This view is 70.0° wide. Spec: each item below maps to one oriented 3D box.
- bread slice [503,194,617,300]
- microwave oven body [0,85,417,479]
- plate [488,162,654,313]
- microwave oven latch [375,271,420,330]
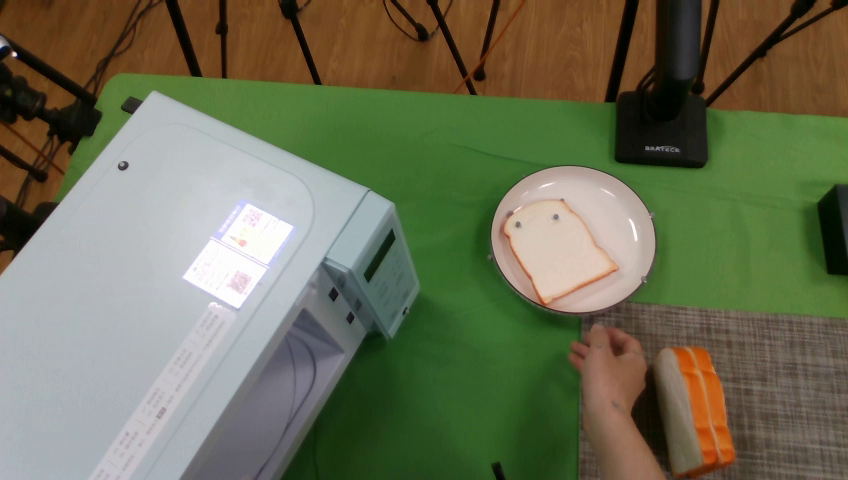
[{"bbox_3d":[0.163,0.004,0.779,0.107,0.018,0.133,-28,65,-10],"label":"bread slice"},{"bbox_3d":[-0.259,0.116,0.651,0.324,0.262,0.440,26,72,15],"label":"microwave oven body"},{"bbox_3d":[0.186,-0.003,0.781,0.207,0.039,0.206,-2,67,5],"label":"plate"},{"bbox_3d":[-0.034,0.071,0.753,0.030,0.030,0.079,27,73,16],"label":"microwave oven latch"}]
